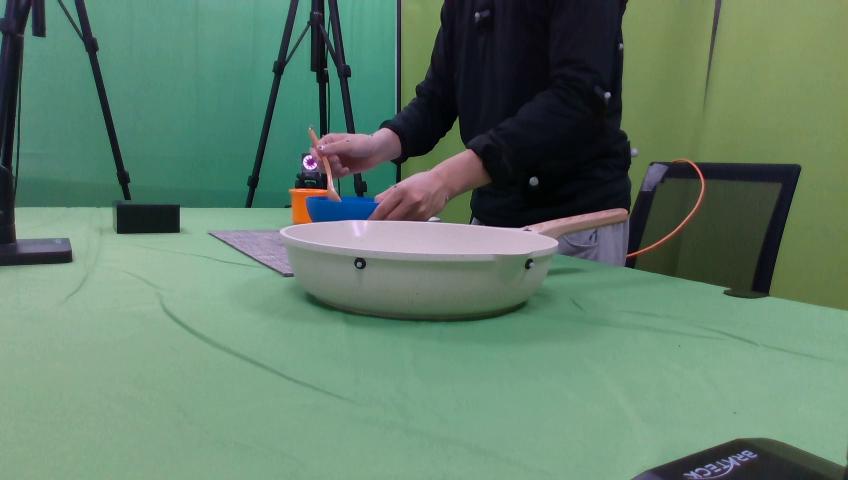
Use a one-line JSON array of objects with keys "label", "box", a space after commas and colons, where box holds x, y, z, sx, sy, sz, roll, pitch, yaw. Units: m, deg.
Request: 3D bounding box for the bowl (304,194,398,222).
[{"label": "bowl", "box": [-0.118, -0.031, 0.973, 0.151, 0.077, 0.151, 2, 7, 0]}]

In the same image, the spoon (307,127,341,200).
[{"label": "spoon", "box": [-0.167, -0.121, 1.021, 0.022, 0.193, 0.041, -12, -33, -16]}]

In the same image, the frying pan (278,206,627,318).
[{"label": "frying pan", "box": [0.079, 0.002, 0.705, 0.490, 0.102, 0.305, -12, 15, -33]}]

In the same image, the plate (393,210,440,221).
[{"label": "plate", "box": [-0.073, -0.035, 1.196, 0.208, 0.039, 0.207, 5, 6, 0]}]
